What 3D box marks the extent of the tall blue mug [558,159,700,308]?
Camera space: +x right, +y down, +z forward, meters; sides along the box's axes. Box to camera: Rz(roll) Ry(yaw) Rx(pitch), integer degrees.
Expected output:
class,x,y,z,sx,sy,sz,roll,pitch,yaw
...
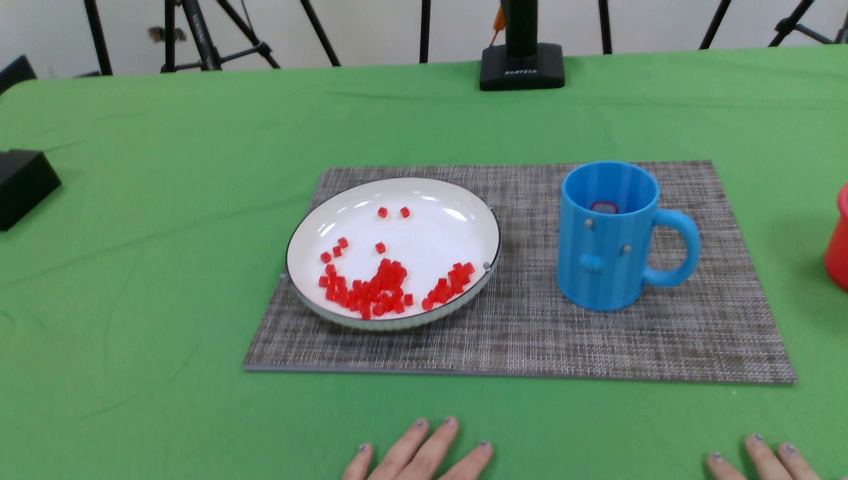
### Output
class,x,y,z,sx,sy,sz,roll,pitch,yaw
tall blue mug,0.172,-0.005,0.522,0.107,0.109,0.077,-4,41,4

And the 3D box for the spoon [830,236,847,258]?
class,x,y,z,sx,sy,sz,roll,pitch,yaw
spoon,0.422,-0.012,0.472,0.041,0.193,0.021,-33,93,-32

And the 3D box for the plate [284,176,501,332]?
class,x,y,z,sx,sy,sz,roll,pitch,yaw
plate,-0.028,0.012,0.588,0.207,0.039,0.205,-4,41,4
